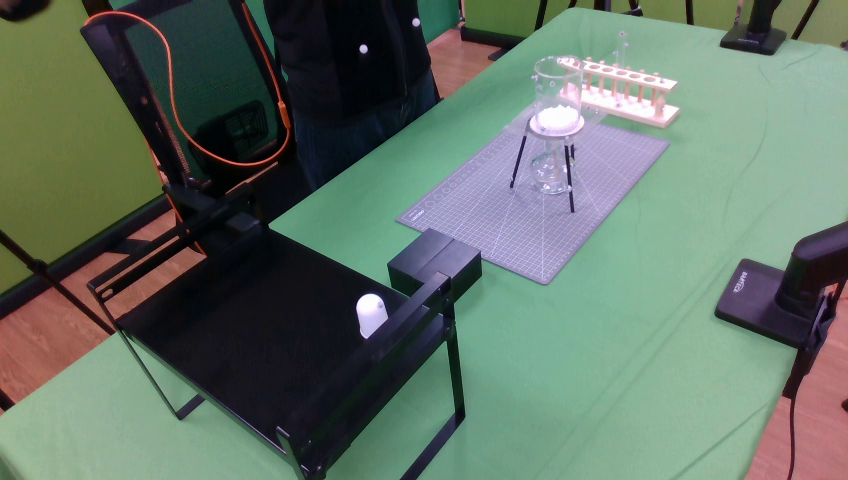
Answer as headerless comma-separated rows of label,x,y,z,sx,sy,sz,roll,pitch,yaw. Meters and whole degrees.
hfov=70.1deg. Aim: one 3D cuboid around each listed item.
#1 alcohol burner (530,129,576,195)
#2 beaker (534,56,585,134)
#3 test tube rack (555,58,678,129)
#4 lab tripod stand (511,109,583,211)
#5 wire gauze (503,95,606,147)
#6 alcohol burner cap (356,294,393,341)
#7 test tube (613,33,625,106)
alcohol burner,0.220,-0.137,1.029,0.078,0.119,0.077,-5,42,5
beaker,0.209,-0.226,0.942,0.074,0.101,0.083,-2,41,8
test tube rack,0.390,-0.307,1.229,0.240,0.085,0.067,25,50,33
lab tripod stand,0.220,-0.138,1.014,0.148,0.132,0.147,-3,41,3
wire gauze,0.212,-0.191,0.976,0.120,0.011,0.125,24,52,32
alcohol burner cap,-0.051,0.074,0.601,0.034,0.048,0.033,-5,42,5
test tube,0.380,-0.330,1.180,0.017,0.151,0.017,-7,41,6
